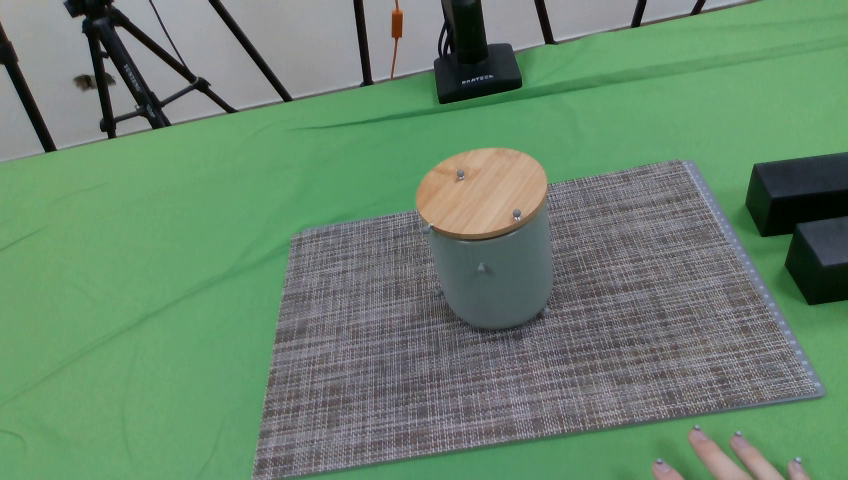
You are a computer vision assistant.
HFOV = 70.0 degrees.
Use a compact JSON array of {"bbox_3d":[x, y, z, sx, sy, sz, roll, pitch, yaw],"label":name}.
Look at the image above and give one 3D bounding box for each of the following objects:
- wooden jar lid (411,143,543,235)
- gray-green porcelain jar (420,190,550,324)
[{"bbox_3d":[0.044,-0.040,0.497,0.108,0.021,0.107,-8,46,9],"label":"wooden jar lid"},{"bbox_3d":[0.058,0.005,0.541,0.106,0.128,0.105,-8,44,8],"label":"gray-green porcelain jar"}]
